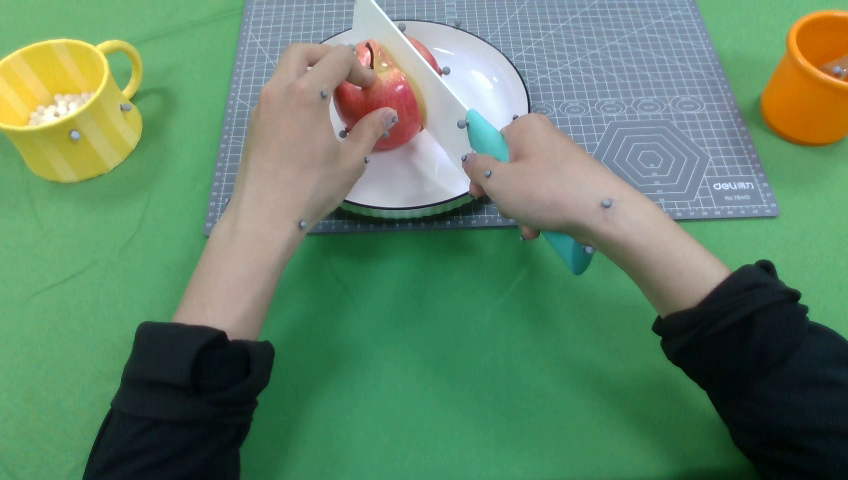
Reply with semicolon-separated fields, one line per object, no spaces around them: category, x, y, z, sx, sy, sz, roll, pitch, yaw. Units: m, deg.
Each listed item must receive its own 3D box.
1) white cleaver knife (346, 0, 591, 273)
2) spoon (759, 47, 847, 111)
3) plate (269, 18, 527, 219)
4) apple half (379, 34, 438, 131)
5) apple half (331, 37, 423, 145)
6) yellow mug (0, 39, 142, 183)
white cleaver knife;0.022;-0.086;0.445;0.021;0.066;0.284;-29;67;-20
spoon;0.363;-0.161;0.473;0.022;0.194;0.041;23;46;-38
plate;-0.021;-0.101;0.503;0.209;0.038;0.207;0;59;0
apple half;-0.009;-0.130;0.491;0.033;0.082;0.080;-30;63;-22
apple half;-0.043;-0.110;0.476;0.053;0.075;0.080;-36;67;-10
yellow mug;-0.288;-0.117;0.502;0.099;0.064;0.130;29;62;16
